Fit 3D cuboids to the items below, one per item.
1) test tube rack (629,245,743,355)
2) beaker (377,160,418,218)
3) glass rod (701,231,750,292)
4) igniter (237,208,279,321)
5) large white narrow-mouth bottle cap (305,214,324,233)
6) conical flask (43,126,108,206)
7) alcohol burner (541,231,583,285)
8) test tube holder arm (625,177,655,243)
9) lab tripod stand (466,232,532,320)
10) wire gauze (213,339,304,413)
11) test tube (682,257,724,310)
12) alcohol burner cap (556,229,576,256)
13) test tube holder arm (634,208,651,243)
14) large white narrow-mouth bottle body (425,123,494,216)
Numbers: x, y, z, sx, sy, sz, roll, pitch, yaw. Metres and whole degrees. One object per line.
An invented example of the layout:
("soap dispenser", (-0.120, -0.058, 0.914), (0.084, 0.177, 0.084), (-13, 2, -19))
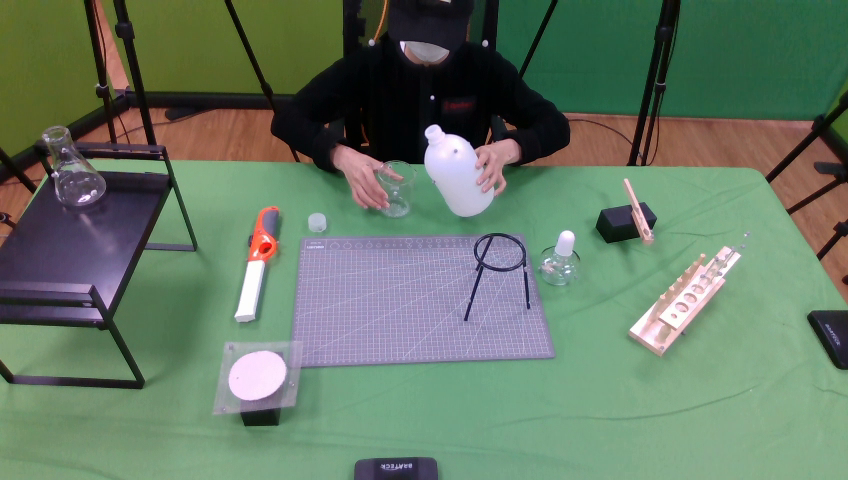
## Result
("test tube rack", (0.474, 0.095, 1.091), (0.242, 0.085, 0.066), (-34, 56, -31))
("beaker", (-0.055, -0.102, 1.231), (0.084, 0.101, 0.073), (-10, 51, -14))
("glass rod", (0.519, 0.045, 1.050), (0.008, 0.201, 0.008), (0, 55, 0))
("igniter", (-0.309, 0.036, 1.136), (0.057, 0.025, 0.274), (-7, 45, 4))
("large white narrow-mouth bottle cap", (-0.219, -0.033, 1.214), (0.038, 0.024, 0.037), (2, 46, -2))
("conical flask", (-0.555, -0.119, 0.953), (0.075, 0.122, 0.075), (2, 46, -2))
("alcohol burner", (0.258, 0.028, 1.123), (0.078, 0.120, 0.077), (1, 48, -1))
("test tube holder arm", (0.433, -0.063, 1.220), (0.013, 0.015, 0.177), (1, 47, -3))
("lab tripod stand", (0.125, 0.059, 1.065), (0.148, 0.132, 0.147), (1, 45, 0))
("wire gauze", (-0.250, 0.203, 0.924), (0.121, 0.011, 0.124), (-1, 46, -3))
("test tube", (0.475, 0.080, 1.037), (0.017, 0.151, 0.017), (2, 51, -2))
("alcohol burner cap", (0.260, 0.002, 1.098), (0.034, 0.048, 0.033), (3, 40, -2))
("test tube holder arm", (0.428, -0.030, 1.189), (0.010, 0.015, 0.087), (1, 47, -2))
("large white narrow-mouth bottle body", (0.059, -0.143, 1.170), (0.102, 0.196, 0.101), (-19, 40, 17))
